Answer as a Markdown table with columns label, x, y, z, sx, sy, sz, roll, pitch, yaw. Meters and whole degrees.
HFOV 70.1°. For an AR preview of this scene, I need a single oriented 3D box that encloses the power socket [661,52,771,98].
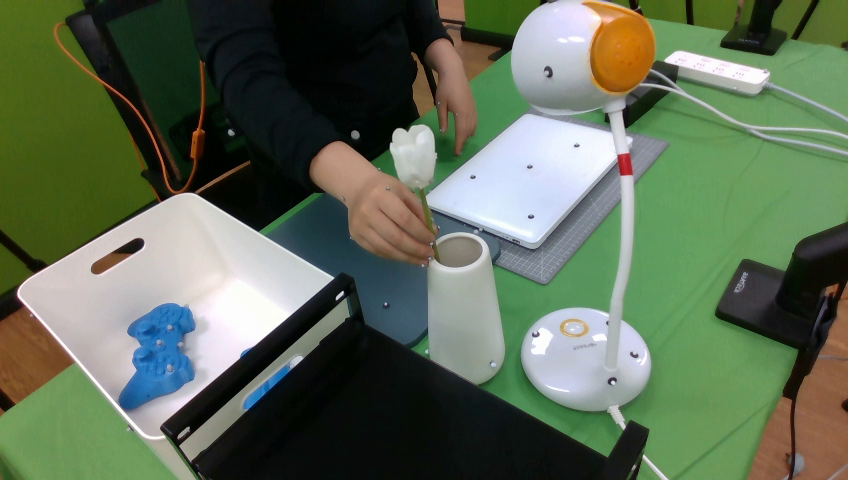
| label | x | y | z | sx | sy | sz | roll | pitch | yaw |
| --- | --- | --- | --- | --- | --- | --- | --- | --- | --- |
| power socket | 0.618 | -0.355 | 1.291 | 0.225 | 0.033 | 0.072 | 29 | 53 | 35 |

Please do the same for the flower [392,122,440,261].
| label | x | y | z | sx | sy | sz | roll | pitch | yaw |
| --- | --- | --- | --- | --- | --- | --- | --- | --- | --- |
| flower | 0.017 | 0.021 | 0.675 | 0.038 | 0.363 | 0.044 | 30 | 60 | 33 |

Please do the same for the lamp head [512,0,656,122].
| label | x | y | z | sx | sy | sz | roll | pitch | yaw |
| --- | --- | --- | --- | --- | --- | --- | --- | --- | --- |
| lamp head | 0.156 | -0.168 | 0.563 | 0.113 | 0.113 | 0.122 | -18 | 23 | -12 |

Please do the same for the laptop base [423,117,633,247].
| label | x | y | z | sx | sy | sz | roll | pitch | yaw |
| --- | --- | --- | --- | --- | --- | --- | --- | --- | --- |
| laptop base | 0.193 | -0.118 | 1.086 | 0.233 | 0.023 | 0.355 | 20 | 47 | 35 |

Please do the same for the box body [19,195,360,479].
| label | x | y | z | sx | sy | sz | roll | pitch | yaw |
| --- | --- | --- | --- | --- | --- | --- | --- | --- | --- |
| box body | -0.287 | 0.118 | 0.771 | 0.361 | 0.161 | 0.255 | 26 | 50 | 33 |

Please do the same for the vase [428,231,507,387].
| label | x | y | z | sx | sy | sz | roll | pitch | yaw |
| --- | --- | --- | --- | --- | --- | --- | --- | --- | --- |
| vase | 0.051 | 0.087 | 0.727 | 0.098 | 0.201 | 0.097 | -3 | 40 | 3 |

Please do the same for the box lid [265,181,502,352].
| label | x | y | z | sx | sy | sz | roll | pitch | yaw |
| --- | --- | --- | --- | --- | --- | --- | --- | --- | --- |
| box lid | -0.086 | 0.023 | 0.970 | 0.368 | 0.015 | 0.264 | 23 | 50 | 31 |

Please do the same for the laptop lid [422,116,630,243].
| label | x | y | z | sx | sy | sz | roll | pitch | yaw |
| --- | --- | --- | --- | --- | --- | --- | --- | --- | --- |
| laptop lid | 0.190 | -0.126 | 1.081 | 0.239 | 0.013 | 0.358 | 23 | 48 | 35 |

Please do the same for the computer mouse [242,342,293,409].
| label | x | y | z | sx | sy | sz | roll | pitch | yaw |
| --- | --- | --- | --- | --- | --- | --- | --- | --- | --- |
| computer mouse | -0.200 | 0.178 | 0.775 | 0.063 | 0.041 | 0.116 | -11 | 44 | -8 |

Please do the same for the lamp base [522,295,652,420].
| label | x | y | z | sx | sy | sz | roll | pitch | yaw |
| --- | --- | --- | --- | --- | --- | --- | --- | --- | --- |
| lamp base | 0.201 | 0.095 | 0.709 | 0.161 | 0.181 | 0.178 | -16 | 43 | -10 |

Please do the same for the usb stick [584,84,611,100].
| label | x | y | z | sx | sy | sz | roll | pitch | yaw |
| --- | --- | --- | --- | --- | --- | --- | --- | --- | --- |
| usb stick | 0.354 | -0.305 | 1.252 | 0.027 | 0.021 | 0.058 | 0 | 0 | -40 |

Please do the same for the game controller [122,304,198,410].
| label | x | y | z | sx | sy | sz | roll | pitch | yaw |
| --- | --- | --- | --- | --- | --- | --- | --- | --- | --- |
| game controller | -0.363 | 0.150 | 0.828 | 0.097 | 0.052 | 0.154 | -14 | 42 | -9 |

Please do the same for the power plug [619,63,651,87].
| label | x | y | z | sx | sy | sz | roll | pitch | yaw |
| --- | --- | --- | --- | --- | --- | --- | --- | --- | --- |
| power plug | 0.436 | -0.341 | 1.265 | 0.035 | 0.053 | 0.072 | 6 | 30 | -14 |
